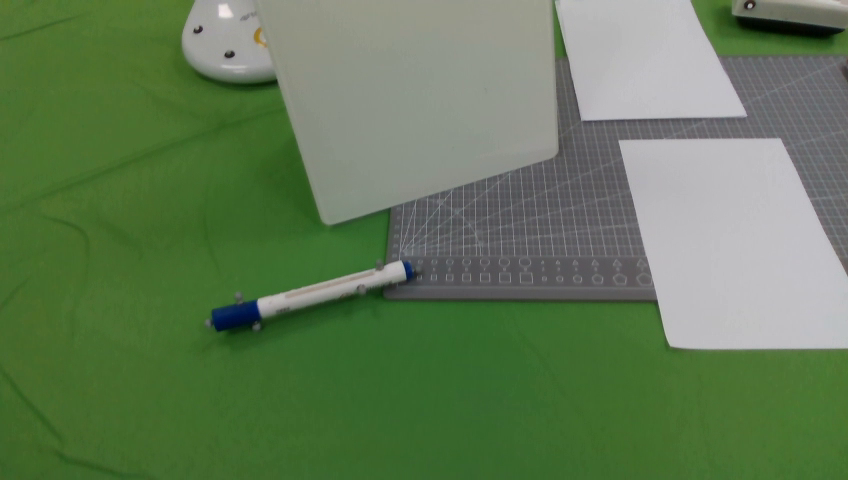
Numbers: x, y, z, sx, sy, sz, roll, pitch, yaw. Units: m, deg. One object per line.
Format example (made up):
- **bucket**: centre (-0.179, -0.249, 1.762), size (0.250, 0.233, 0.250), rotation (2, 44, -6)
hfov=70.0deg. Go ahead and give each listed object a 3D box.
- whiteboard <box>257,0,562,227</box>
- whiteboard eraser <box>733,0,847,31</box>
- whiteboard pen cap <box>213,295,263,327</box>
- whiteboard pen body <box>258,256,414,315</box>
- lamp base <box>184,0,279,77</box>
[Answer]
- **whiteboard**: centre (-0.024, -0.201, 0.487), size (0.217, 0.308, 0.142), rotation (-17, 34, -10)
- **whiteboard eraser**: centre (0.387, -0.251, 0.639), size (0.112, 0.042, 0.055), rotation (13, 55, 12)
- **whiteboard pen cap**: centre (-0.132, 0.050, 0.434), size (0.033, 0.018, 0.018), rotation (-14, 52, -13)
- **whiteboard pen body**: centre (-0.076, 0.036, 0.445), size (0.141, 0.017, 0.017), rotation (-15, 52, -11)
- **lamp base**: centre (-0.190, -0.283, 0.602), size (0.177, 0.182, 0.160), rotation (35, 61, 29)
